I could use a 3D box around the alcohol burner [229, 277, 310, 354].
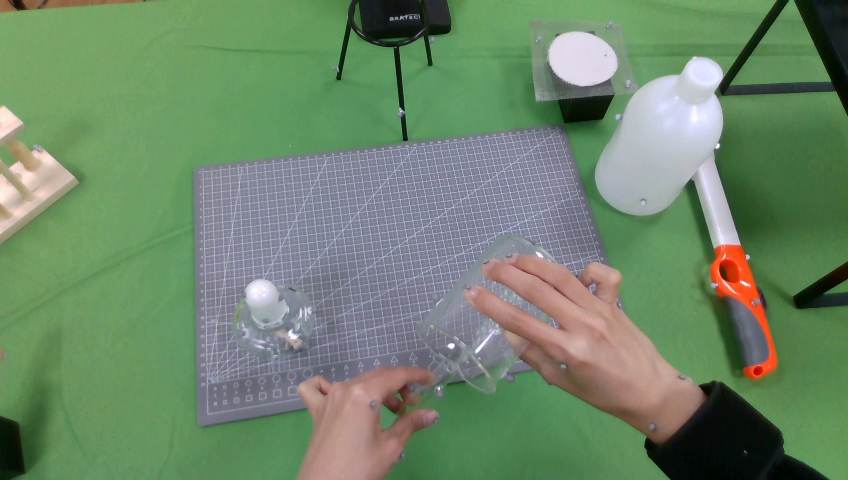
[{"bbox_3d":[-0.149,0.066,0.579,0.078,0.120,0.077,2,63,-4],"label":"alcohol burner"}]

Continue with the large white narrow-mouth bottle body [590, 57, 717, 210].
[{"bbox_3d":[0.249,-0.117,0.645,0.102,0.196,0.101,1,64,-2],"label":"large white narrow-mouth bottle body"}]

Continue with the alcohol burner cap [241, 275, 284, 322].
[{"bbox_3d":[-0.148,0.051,0.546,0.034,0.048,0.033,0,59,0],"label":"alcohol burner cap"}]

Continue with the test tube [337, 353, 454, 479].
[{"bbox_3d":[-0.026,0.148,0.497,0.017,0.017,0.150,46,110,17],"label":"test tube"}]

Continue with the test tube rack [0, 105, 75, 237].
[{"bbox_3d":[-0.499,-0.024,0.620,0.066,0.086,0.242,38,68,14],"label":"test tube rack"}]

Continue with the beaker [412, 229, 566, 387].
[{"bbox_3d":[0.051,0.048,0.453,0.073,0.084,0.100,39,71,14],"label":"beaker"}]

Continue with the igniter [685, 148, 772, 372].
[{"bbox_3d":[0.336,0.011,0.682,0.057,0.025,0.274,2,64,-13],"label":"igniter"}]

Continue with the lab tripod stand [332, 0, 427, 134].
[{"bbox_3d":[-0.043,-0.221,0.712,0.148,0.132,0.147,2,65,-4],"label":"lab tripod stand"}]

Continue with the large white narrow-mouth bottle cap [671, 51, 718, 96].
[{"bbox_3d":[0.252,-0.156,0.568,0.038,0.024,0.037,1,64,-2],"label":"large white narrow-mouth bottle cap"}]

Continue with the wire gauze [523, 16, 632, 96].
[{"bbox_3d":[0.185,-0.229,0.743,0.121,0.011,0.124,-1,64,-3],"label":"wire gauze"}]
